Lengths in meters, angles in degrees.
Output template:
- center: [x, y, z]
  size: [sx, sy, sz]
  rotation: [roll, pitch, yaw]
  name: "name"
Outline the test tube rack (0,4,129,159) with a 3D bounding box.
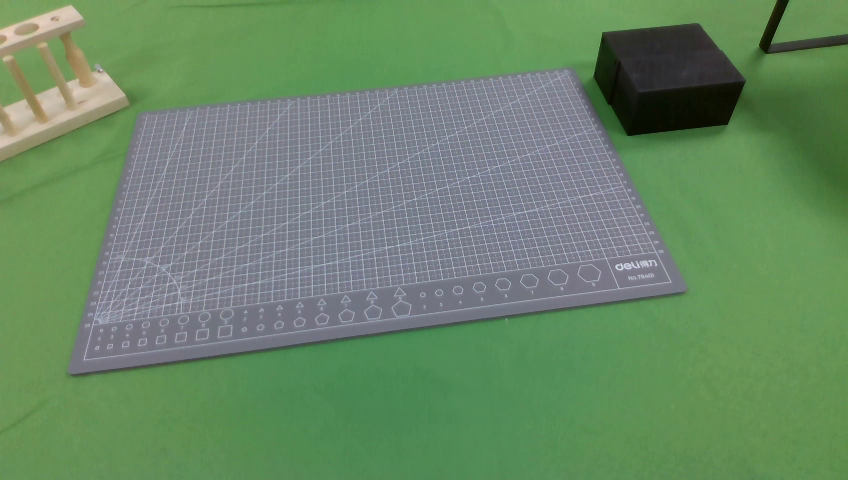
- center: [-0.418, -0.126, 0.560]
  size: [0.242, 0.086, 0.066]
  rotation: [-33, 56, -24]
  name: "test tube rack"
